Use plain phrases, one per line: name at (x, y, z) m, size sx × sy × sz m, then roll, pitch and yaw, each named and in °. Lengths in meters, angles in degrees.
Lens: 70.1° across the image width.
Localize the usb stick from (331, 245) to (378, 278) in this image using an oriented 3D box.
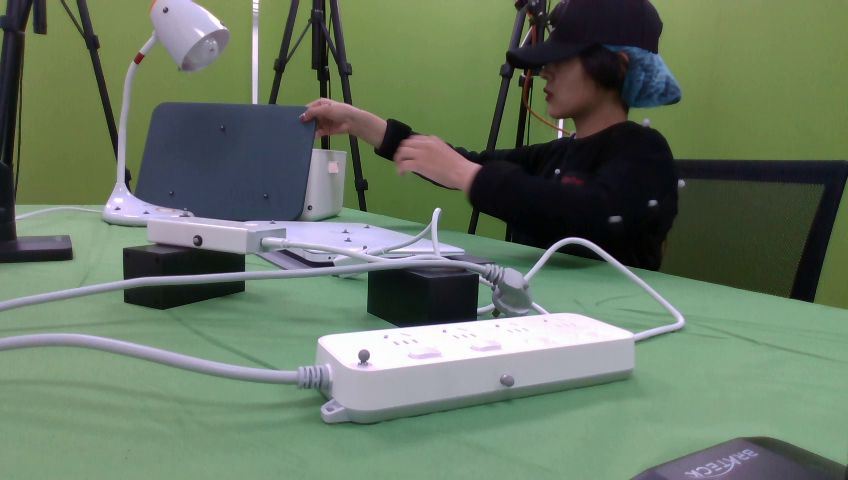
usb stick at (-0.085, 0.026, 0.701) m, size 0.059 × 0.027 × 0.021 m, roll -18°, pitch 20°, yaw 27°

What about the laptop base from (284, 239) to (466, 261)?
laptop base at (-0.125, 0.002, 0.945) m, size 0.237 × 0.023 × 0.352 m, roll 2°, pitch 6°, yaw -31°

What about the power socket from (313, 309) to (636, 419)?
power socket at (0.039, 0.072, 0.385) m, size 0.228 × 0.032 × 0.072 m, roll -2°, pitch 7°, yaw -28°

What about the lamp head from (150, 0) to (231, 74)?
lamp head at (-0.432, -0.374, 1.086) m, size 0.123 × 0.112 × 0.112 m, roll 42°, pitch 8°, yaw -3°

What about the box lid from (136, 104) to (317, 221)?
box lid at (-0.413, -0.164, 1.267) m, size 0.371 × 0.263 × 0.015 m, roll 2°, pitch -16°, yaw 9°

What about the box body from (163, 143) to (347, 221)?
box body at (-0.384, -0.137, 1.407) m, size 0.364 × 0.160 × 0.254 m, roll 3°, pitch 8°, yaw 7°

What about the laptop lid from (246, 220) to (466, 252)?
laptop lid at (-0.123, -0.009, 0.945) m, size 0.243 × 0.013 × 0.355 m, roll 1°, pitch 7°, yaw -29°

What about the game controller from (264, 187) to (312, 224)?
game controller at (-0.307, -0.088, 1.397) m, size 0.097 × 0.051 × 0.155 m, roll 31°, pitch 8°, yaw -4°

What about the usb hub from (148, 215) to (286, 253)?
usb hub at (-0.197, -0.006, 0.575) m, size 0.125 × 0.025 × 0.050 m, roll 6°, pitch 7°, yaw 22°

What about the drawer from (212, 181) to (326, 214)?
drawer at (-0.349, -0.102, 1.394) m, size 0.212 × 0.073 × 0.194 m, roll 2°, pitch 6°, yaw 4°

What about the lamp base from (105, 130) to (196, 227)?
lamp base at (-0.532, -0.120, 1.153) m, size 0.179 × 0.180 × 0.161 m, roll 1°, pitch 7°, yaw 8°

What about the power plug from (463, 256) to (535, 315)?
power plug at (0.064, 0.039, 0.530) m, size 0.072 × 0.052 × 0.035 m, roll 31°, pitch 43°, yaw 7°

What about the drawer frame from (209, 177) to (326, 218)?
drawer frame at (-0.350, -0.101, 1.392) m, size 0.213 × 0.082 × 0.201 m, roll 1°, pitch 8°, yaw 3°
